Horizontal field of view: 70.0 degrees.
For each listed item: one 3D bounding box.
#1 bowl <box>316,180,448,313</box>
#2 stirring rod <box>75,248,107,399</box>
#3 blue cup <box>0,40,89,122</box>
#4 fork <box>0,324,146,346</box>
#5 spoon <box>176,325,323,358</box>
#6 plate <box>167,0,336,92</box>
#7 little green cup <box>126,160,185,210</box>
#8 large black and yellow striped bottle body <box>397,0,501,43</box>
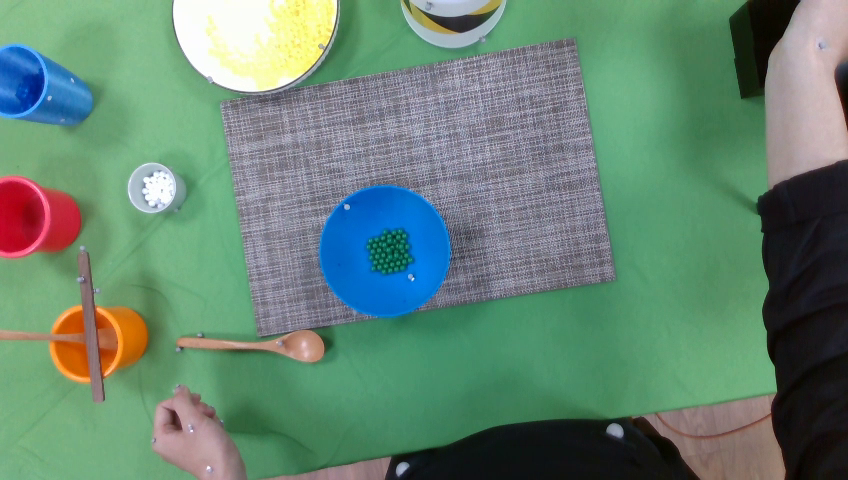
[{"bbox_3d":[-0.045,0.008,0.716,0.151,0.077,0.151,0,90,4],"label":"bowl"},{"bbox_3d":[-0.386,0.097,0.702,0.014,0.006,0.176,-8,89,2],"label":"stirring rod"},{"bbox_3d":[-0.465,-0.183,0.734,0.092,0.100,0.092,0,90,5],"label":"blue cup"},{"bbox_3d":[-0.437,0.109,0.707,0.209,0.018,0.028,10,92,-40],"label":"fork"},{"bbox_3d":[-0.220,0.125,0.757,0.194,0.021,0.042,1,103,3],"label":"spoon"},{"bbox_3d":[-0.210,-0.284,0.751,0.209,0.038,0.209,0,90,3],"label":"plate"},{"bbox_3d":[-0.333,-0.067,0.757,0.061,0.038,0.061,0,90,4],"label":"little green cup"},{"bbox_3d":[0.025,-0.309,0.663,0.131,0.184,0.130,0,89,4],"label":"large black and yellow striped bottle body"}]
